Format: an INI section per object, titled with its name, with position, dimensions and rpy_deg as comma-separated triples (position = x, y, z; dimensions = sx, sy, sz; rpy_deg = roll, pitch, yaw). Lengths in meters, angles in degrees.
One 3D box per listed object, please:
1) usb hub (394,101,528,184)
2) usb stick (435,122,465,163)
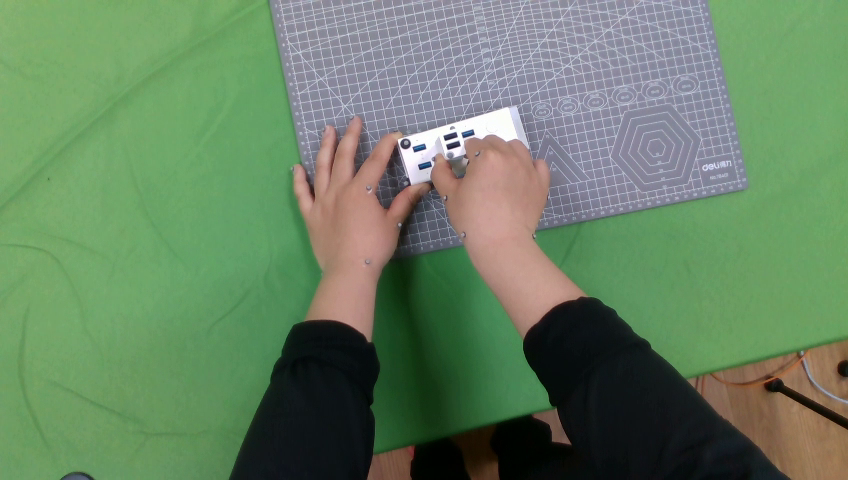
[usb hub]
position = 0.037, -0.098, 0.602
dimensions = 0.125, 0.025, 0.049
rpy_deg = -17, 88, -6
[usb stick]
position = 0.024, -0.090, 0.571
dimensions = 0.021, 0.059, 0.027
rpy_deg = -21, 84, -2
